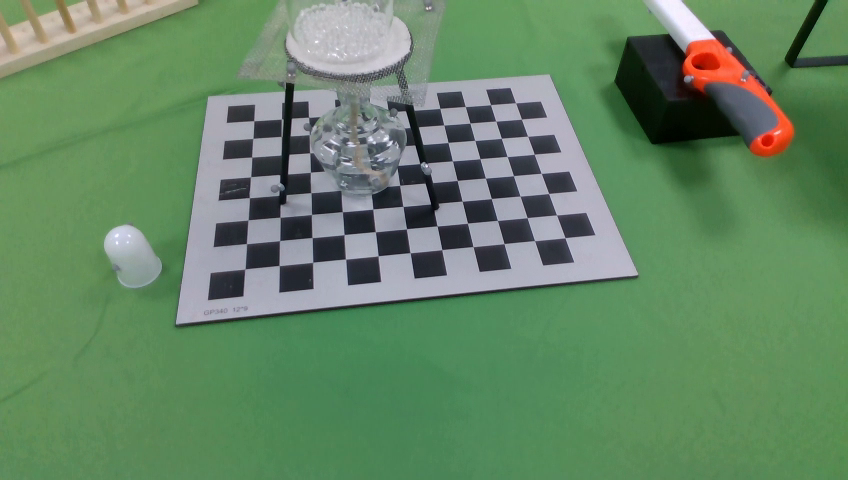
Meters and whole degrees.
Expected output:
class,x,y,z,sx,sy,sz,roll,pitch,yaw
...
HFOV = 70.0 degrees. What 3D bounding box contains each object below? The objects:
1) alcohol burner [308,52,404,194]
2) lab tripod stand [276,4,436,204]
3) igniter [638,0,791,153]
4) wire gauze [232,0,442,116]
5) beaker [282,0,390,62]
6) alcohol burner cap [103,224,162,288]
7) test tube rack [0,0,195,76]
class,x,y,z,sx,sy,sz,roll,pitch,yaw
alcohol burner,-0.055,-0.094,0.480,0.078,0.120,0.077,0,52,1
lab tripod stand,-0.052,-0.100,0.472,0.148,0.132,0.147,2,50,-2
igniter,0.252,-0.172,0.553,0.057,0.025,0.273,-8,49,-4
wire gauze,-0.054,-0.139,0.420,0.125,0.011,0.120,11,53,2
beaker,-0.057,-0.171,0.381,0.074,0.101,0.083,1,51,-2
alcohol burner cap,-0.216,0.009,0.443,0.034,0.048,0.033,2,51,-1
test tube rack,-0.373,-0.257,0.626,0.242,0.086,0.066,-34,60,-26
